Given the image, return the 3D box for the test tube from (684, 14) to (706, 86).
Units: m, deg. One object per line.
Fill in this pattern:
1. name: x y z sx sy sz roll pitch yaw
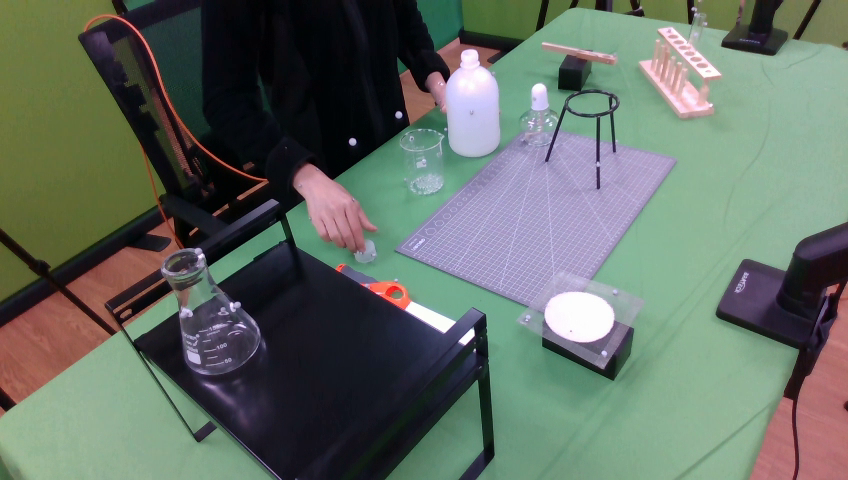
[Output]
1. test tube: 0.540 -0.378 1.215 0.017 0.151 0.017 -2 44 3

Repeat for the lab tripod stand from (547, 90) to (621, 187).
1. lab tripod stand: 0.289 -0.184 1.062 0.148 0.132 0.147 -6 41 6

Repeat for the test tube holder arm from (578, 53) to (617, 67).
1. test tube holder arm: 0.376 -0.393 1.314 0.087 0.015 0.010 26 50 32

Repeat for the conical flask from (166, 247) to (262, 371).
1. conical flask: -0.208 0.064 0.584 0.075 0.122 0.075 -5 40 4

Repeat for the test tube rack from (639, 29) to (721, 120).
1. test tube rack: 0.527 -0.351 1.262 0.067 0.085 0.241 -8 40 1

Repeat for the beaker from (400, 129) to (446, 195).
1. beaker: 0.004 -0.139 1.087 0.084 0.101 0.073 -20 42 -15

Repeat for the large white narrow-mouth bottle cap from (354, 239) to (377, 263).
1. large white narrow-mouth bottle cap: -0.095 0.017 0.981 0.038 0.024 0.037 -4 40 4

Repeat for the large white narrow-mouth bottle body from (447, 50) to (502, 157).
1. large white narrow-mouth bottle body: 0.094 -0.261 1.142 0.102 0.195 0.101 -4 40 4

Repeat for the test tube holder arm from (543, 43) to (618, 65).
1. test tube holder arm: 0.344 -0.413 1.340 0.177 0.015 0.013 25 50 31

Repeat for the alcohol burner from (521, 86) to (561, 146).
1. alcohol burner: 0.223 -0.241 1.155 0.078 0.119 0.077 -5 43 5

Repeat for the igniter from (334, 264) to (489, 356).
1. igniter: -0.030 0.095 0.871 0.274 0.025 0.057 22 59 31

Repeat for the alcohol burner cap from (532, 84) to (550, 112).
1. alcohol burner cap: 0.218 -0.269 1.133 0.034 0.048 0.033 -8 36 7

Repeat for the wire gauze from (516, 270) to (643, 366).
1. wire gauze: 0.200 0.093 0.777 0.124 0.011 0.122 23 49 32

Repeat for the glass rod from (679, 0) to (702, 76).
1. glass rod: 0.543 -0.417 1.233 0.008 0.200 0.008 1 40 0
